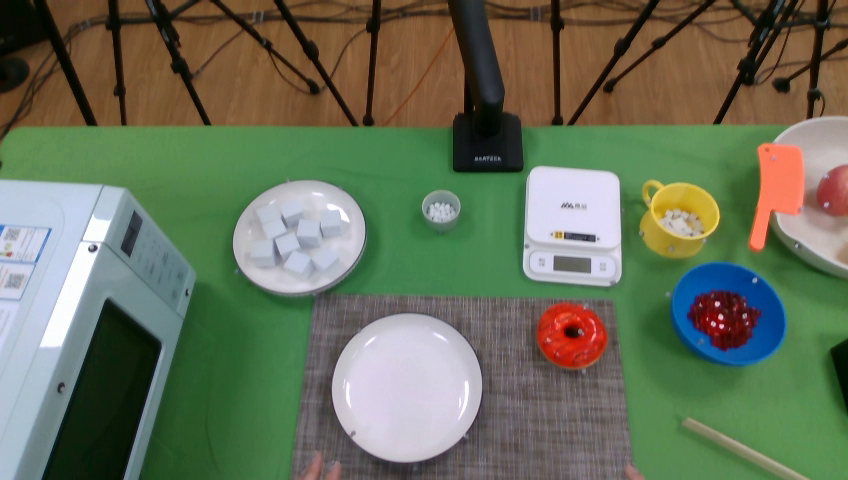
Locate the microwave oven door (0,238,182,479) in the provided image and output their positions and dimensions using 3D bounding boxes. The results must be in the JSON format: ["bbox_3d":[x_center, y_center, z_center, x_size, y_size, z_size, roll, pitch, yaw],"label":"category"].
[{"bbox_3d":[-0.389,0.207,0.707,0.039,0.246,0.353,3,62,4],"label":"microwave oven door"}]

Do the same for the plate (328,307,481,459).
[{"bbox_3d":[-0.026,0.194,0.835,0.209,0.038,0.207,-1,63,2],"label":"plate"}]

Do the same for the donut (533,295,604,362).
[{"bbox_3d":[0.204,0.126,0.860,0.099,0.048,0.098,-2,62,3],"label":"donut"}]

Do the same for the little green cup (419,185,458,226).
[{"bbox_3d":[0.023,-0.053,0.968,0.061,0.039,0.061,-1,62,2],"label":"little green cup"}]

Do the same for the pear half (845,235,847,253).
[{"bbox_3d":[0.661,0.001,0.875,0.076,0.111,0.056,34,68,22],"label":"pear half"}]

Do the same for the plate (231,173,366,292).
[{"bbox_3d":[-0.193,-0.010,0.952,0.207,0.039,0.206,-1,62,1],"label":"plate"}]

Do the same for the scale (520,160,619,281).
[{"bbox_3d":[0.230,-0.035,0.956,0.148,0.032,0.199,5,63,5],"label":"scale"}]

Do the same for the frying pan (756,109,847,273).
[{"bbox_3d":[0.699,0.004,0.880,0.307,0.104,0.482,-23,56,-9],"label":"frying pan"}]

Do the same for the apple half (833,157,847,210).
[{"bbox_3d":[0.663,-0.087,0.941,0.053,0.075,0.080,-6,58,-5],"label":"apple half"}]

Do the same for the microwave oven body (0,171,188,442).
[{"bbox_3d":[-0.530,0.164,0.739,0.326,0.262,0.438,4,63,3],"label":"microwave oven body"}]

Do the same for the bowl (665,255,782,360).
[{"bbox_3d":[0.407,0.104,0.851,0.151,0.077,0.150,-1,63,2],"label":"bowl"}]

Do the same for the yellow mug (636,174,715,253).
[{"bbox_3d":[0.378,-0.051,0.940,0.100,0.064,0.129,-28,64,-12],"label":"yellow mug"}]

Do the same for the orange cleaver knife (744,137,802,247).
[{"bbox_3d":[0.523,-0.076,0.907,0.077,0.012,0.210,18,65,11],"label":"orange cleaver knife"}]

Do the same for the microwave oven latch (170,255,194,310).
[{"bbox_3d":[-0.364,0.063,0.897,0.030,0.030,0.078,5,63,4],"label":"microwave oven latch"}]

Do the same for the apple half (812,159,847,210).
[{"bbox_3d":[0.625,-0.082,0.938,0.033,0.082,0.080,-6,62,-5],"label":"apple half"}]

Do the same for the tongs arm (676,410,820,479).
[{"bbox_3d":[0.503,0.322,0.759,0.385,0.028,0.028,29,60,16],"label":"tongs arm"}]
